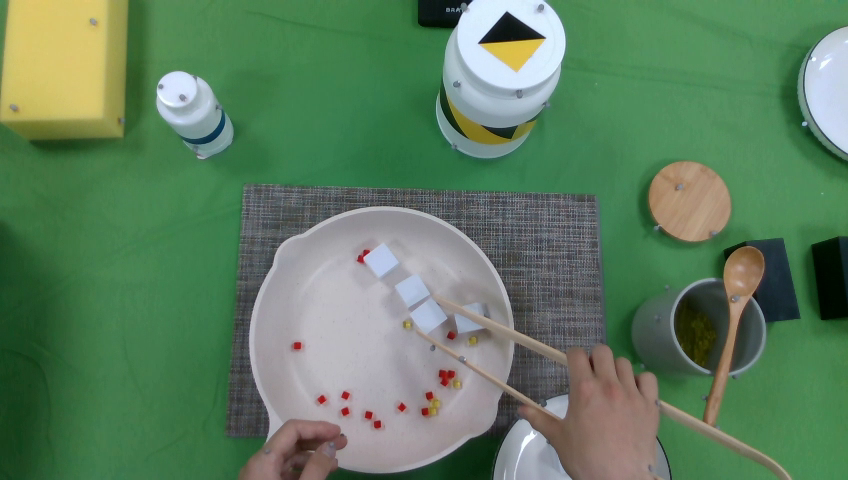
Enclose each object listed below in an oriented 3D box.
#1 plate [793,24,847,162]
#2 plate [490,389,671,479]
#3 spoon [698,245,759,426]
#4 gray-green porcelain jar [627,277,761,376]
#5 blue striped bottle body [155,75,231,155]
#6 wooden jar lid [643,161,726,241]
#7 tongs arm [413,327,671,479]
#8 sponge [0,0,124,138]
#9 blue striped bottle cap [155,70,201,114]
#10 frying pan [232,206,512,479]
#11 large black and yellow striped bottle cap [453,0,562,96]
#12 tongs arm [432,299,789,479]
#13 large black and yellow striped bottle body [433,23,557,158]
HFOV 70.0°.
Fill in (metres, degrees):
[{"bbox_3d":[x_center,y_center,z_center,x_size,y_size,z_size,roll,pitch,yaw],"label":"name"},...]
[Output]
[{"bbox_3d":[0.602,-0.195,0.829,0.209,0.038,0.208,1,78,-4],"label":"plate"},{"bbox_3d":[0.177,0.277,0.698,0.208,0.039,0.207,1,80,-4],"label":"plate"},{"bbox_3d":[0.312,0.099,0.630,0.042,0.021,0.193,17,81,-4],"label":"spoon"},{"bbox_3d":[0.302,0.104,0.700,0.106,0.127,0.105,1,78,-4],"label":"gray-green porcelain jar"},{"bbox_3d":[-0.272,-0.150,0.711,0.063,0.121,0.063,1,77,-4],"label":"blue striped bottle body"},{"bbox_3d":[0.337,-0.050,0.789,0.108,0.021,0.108,1,80,-4],"label":"wooden jar lid"},{"bbox_3d":[0.142,0.159,0.585,0.381,0.027,0.050,28,70,35],"label":"tongs arm"},{"bbox_3d":[-0.443,-0.234,0.746,0.118,0.061,0.206,-3,79,-6],"label":"sponge"},{"bbox_3d":[-0.269,-0.162,0.662,0.044,0.020,0.044,1,80,-4],"label":"blue striped bottle cap"},{"bbox_3d":[-0.116,0.179,0.660,0.306,0.103,0.487,42,70,6],"label":"frying pan"},{"bbox_3d":[0.087,-0.207,0.633,0.115,0.019,0.114,1,79,-4],"label":"large black and yellow striped bottle cap"},{"bbox_3d":[0.157,0.140,0.593,0.384,0.028,0.028,24,64,34],"label":"tongs arm"},{"bbox_3d":[0.081,-0.188,0.715,0.131,0.184,0.130,1,77,-4],"label":"large black and yellow striped bottle body"}]
